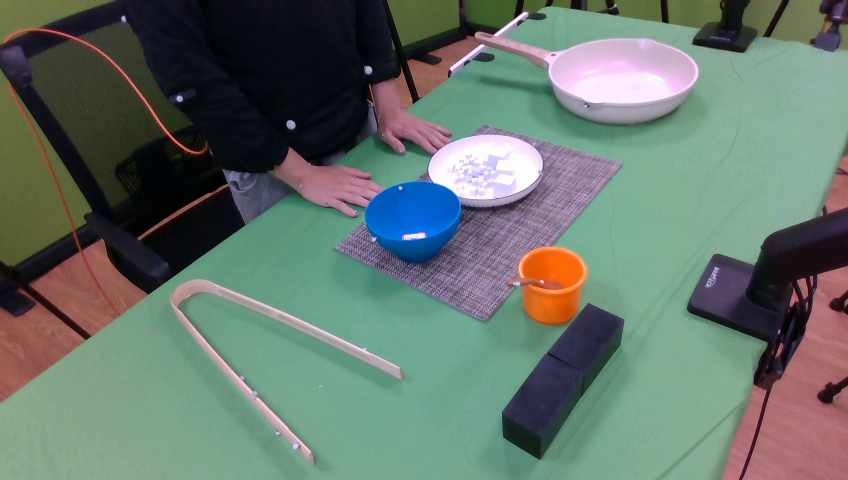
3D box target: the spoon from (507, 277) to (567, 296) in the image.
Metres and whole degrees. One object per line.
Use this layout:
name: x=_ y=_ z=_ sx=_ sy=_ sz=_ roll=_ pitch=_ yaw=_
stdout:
spoon: x=0.143 y=0.058 z=0.783 sx=0.041 sy=0.195 sz=0.021 roll=15 pitch=89 yaw=29

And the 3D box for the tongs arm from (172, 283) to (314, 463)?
tongs arm: x=-0.246 y=0.161 z=0.806 sx=0.381 sy=0.026 sz=0.051 roll=29 pitch=51 yaw=36

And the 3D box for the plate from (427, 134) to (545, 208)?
plate: x=0.110 y=-0.119 z=1.073 sx=0.207 sy=0.039 sz=0.206 roll=-4 pitch=40 yaw=4

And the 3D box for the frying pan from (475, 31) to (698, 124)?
frying pan: x=0.320 y=-0.371 z=1.290 sx=0.485 sy=0.103 sz=0.307 roll=28 pitch=50 yaw=23

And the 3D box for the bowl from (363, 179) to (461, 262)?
bowl: x=-0.014 y=-0.020 z=0.943 sx=0.151 sy=0.077 sz=0.150 roll=-4 pitch=41 yaw=4

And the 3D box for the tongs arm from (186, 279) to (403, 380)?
tongs arm: x=-0.193 y=0.120 z=0.853 sx=0.385 sy=0.028 sz=0.028 roll=18 pitch=49 yaw=27
